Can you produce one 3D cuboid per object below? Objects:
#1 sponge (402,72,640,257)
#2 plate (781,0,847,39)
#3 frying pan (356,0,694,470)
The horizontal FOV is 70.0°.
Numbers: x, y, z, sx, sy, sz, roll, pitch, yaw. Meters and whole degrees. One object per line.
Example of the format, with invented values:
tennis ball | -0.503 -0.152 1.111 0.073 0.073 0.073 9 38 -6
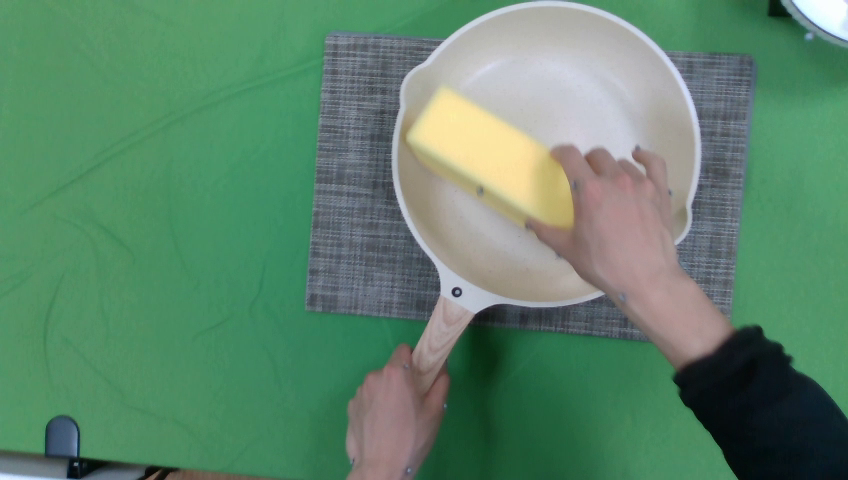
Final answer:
sponge | 0.087 -0.065 0.575 0.206 0.118 0.061 33 91 8
plate | 0.408 -0.282 0.552 0.207 0.039 0.207 0 91 3
frying pan | 0.059 0.003 0.598 0.306 0.103 0.487 30 85 5
